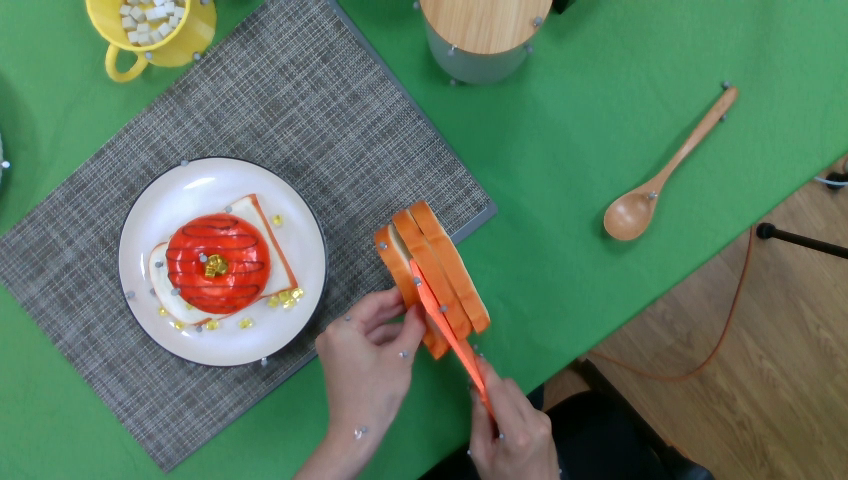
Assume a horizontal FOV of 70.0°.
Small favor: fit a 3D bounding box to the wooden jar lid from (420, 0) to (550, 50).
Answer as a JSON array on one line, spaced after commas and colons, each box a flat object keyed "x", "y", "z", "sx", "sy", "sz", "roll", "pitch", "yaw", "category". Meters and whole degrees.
[{"x": 0.049, "y": -0.206, "z": 0.484, "sx": 0.108, "sy": 0.020, "sz": 0.108, "roll": 0, "pitch": 94, "yaw": -1, "category": "wooden jar lid"}]

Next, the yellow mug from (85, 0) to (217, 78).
[{"x": -0.269, "y": -0.216, "z": 0.586, "sx": 0.100, "sy": 0.064, "sz": 0.131, "roll": 30, "pitch": 95, "yaw": 1, "category": "yellow mug"}]

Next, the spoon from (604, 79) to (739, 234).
[{"x": 0.248, "y": -0.084, "z": 0.599, "sx": 0.041, "sy": 0.022, "sz": 0.194, "roll": 41, "pitch": 94, "yaw": 18, "category": "spoon"}]

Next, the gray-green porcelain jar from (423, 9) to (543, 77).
[{"x": 0.052, "y": -0.209, "z": 0.546, "sx": 0.106, "sy": 0.126, "sz": 0.106, "roll": 0, "pitch": 93, "yaw": 2, "category": "gray-green porcelain jar"}]

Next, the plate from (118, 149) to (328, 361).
[{"x": -0.197, "y": 0.015, "z": 0.609, "sx": 0.209, "sy": 0.038, "sz": 0.209, "roll": 0, "pitch": 94, "yaw": 2, "category": "plate"}]

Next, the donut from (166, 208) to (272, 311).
[{"x": -0.195, "y": 0.018, "z": 0.581, "sx": 0.099, "sy": 0.048, "sz": 0.099, "roll": 0, "pitch": 94, "yaw": -2, "category": "donut"}]

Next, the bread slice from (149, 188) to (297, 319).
[{"x": -0.208, "y": 0.022, "z": 0.613, "sx": 0.131, "sy": 0.019, "sz": 0.105, "roll": -27, "pitch": 92, "yaw": 0, "category": "bread slice"}]

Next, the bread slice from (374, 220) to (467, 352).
[{"x": -0.002, "y": 0.039, "z": 0.580, "sx": 0.018, "sy": 0.107, "sz": 0.134, "roll": -36, "pitch": 90, "yaw": 5, "category": "bread slice"}]

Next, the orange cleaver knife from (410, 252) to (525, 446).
[{"x": 0.041, "y": 0.103, "z": 0.559, "sx": 0.012, "sy": 0.076, "sz": 0.213, "roll": -28, "pitch": 113, "yaw": 8, "category": "orange cleaver knife"}]
